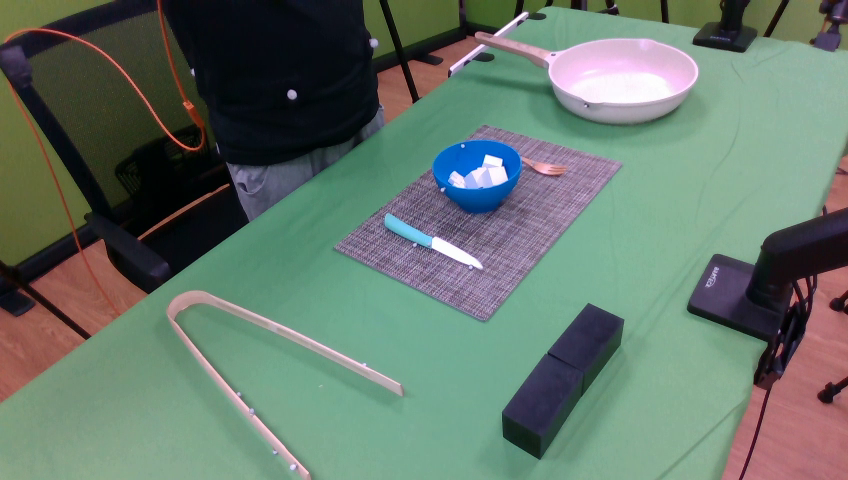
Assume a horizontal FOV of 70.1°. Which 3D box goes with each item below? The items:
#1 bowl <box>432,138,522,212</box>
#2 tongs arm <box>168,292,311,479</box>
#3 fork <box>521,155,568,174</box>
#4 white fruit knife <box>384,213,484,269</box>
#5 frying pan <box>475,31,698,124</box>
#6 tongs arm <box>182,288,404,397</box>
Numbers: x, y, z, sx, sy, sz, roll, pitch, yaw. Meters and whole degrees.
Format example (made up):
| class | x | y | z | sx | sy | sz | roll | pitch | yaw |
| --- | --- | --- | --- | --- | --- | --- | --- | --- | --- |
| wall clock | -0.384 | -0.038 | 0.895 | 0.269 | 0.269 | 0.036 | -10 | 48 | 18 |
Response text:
| class | x | y | z | sx | sy | sz | roll | pitch | yaw |
| --- | --- | --- | --- | --- | --- | --- | --- | --- | --- |
| bowl | 0.091 | -0.100 | 1.021 | 0.151 | 0.077 | 0.150 | -4 | 41 | 4 |
| tongs arm | -0.244 | 0.175 | 0.787 | 0.381 | 0.026 | 0.051 | 30 | 52 | 36 |
| fork | 0.168 | -0.152 | 1.117 | 0.206 | 0.019 | 0.028 | 22 | 56 | 27 |
| white fruit knife | 0.011 | 0.002 | 0.962 | 0.206 | 0.016 | 0.027 | 26 | 61 | 31 |
| frying pan | 0.320 | -0.371 | 1.290 | 0.485 | 0.103 | 0.307 | 28 | 50 | 23 |
| tongs arm | -0.191 | 0.134 | 0.833 | 0.385 | 0.028 | 0.028 | 18 | 49 | 26 |
